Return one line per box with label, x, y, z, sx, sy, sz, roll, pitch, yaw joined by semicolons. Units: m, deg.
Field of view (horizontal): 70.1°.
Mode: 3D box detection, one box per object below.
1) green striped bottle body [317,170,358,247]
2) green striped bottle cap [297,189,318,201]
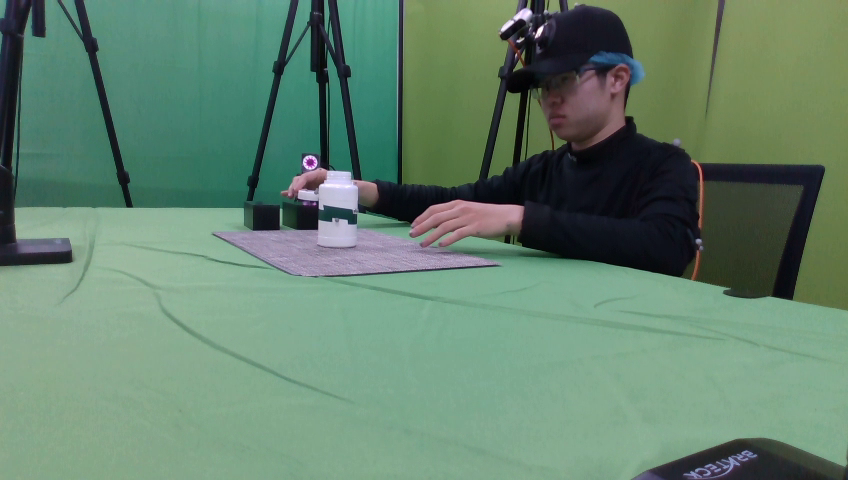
green striped bottle body;-0.138;-0.051;0.964;0.063;0.119;0.063;2;7;0
green striped bottle cap;-0.232;-0.091;1.212;0.044;0.020;0.044;7;8;-1
